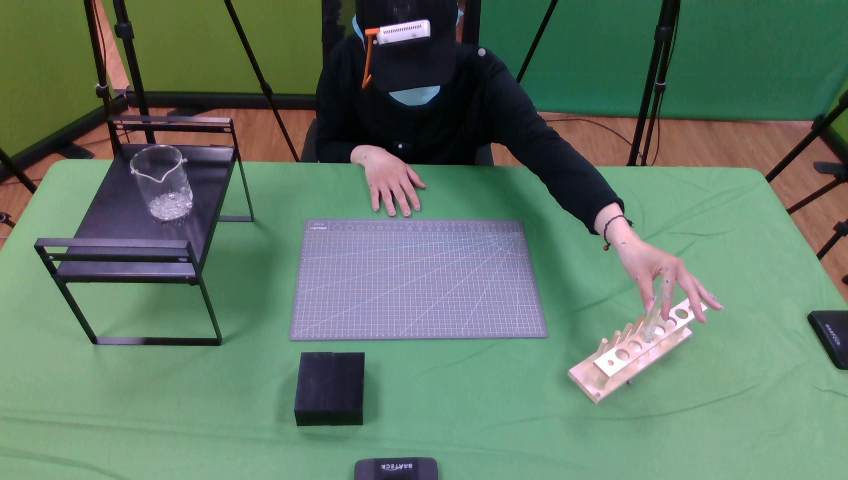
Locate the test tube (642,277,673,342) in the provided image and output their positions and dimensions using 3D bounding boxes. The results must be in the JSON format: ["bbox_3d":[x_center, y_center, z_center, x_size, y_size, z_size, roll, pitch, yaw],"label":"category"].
[{"bbox_3d":[0.358,0.115,0.936,0.017,0.151,0.017,-1,42,1],"label":"test tube"}]

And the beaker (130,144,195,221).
[{"bbox_3d":[-0.403,-0.085,0.944,0.074,0.101,0.083,-15,50,-17],"label":"beaker"}]

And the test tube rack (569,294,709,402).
[{"bbox_3d":[0.360,0.167,1.014,0.242,0.085,0.066,-25,53,-25],"label":"test tube rack"}]
